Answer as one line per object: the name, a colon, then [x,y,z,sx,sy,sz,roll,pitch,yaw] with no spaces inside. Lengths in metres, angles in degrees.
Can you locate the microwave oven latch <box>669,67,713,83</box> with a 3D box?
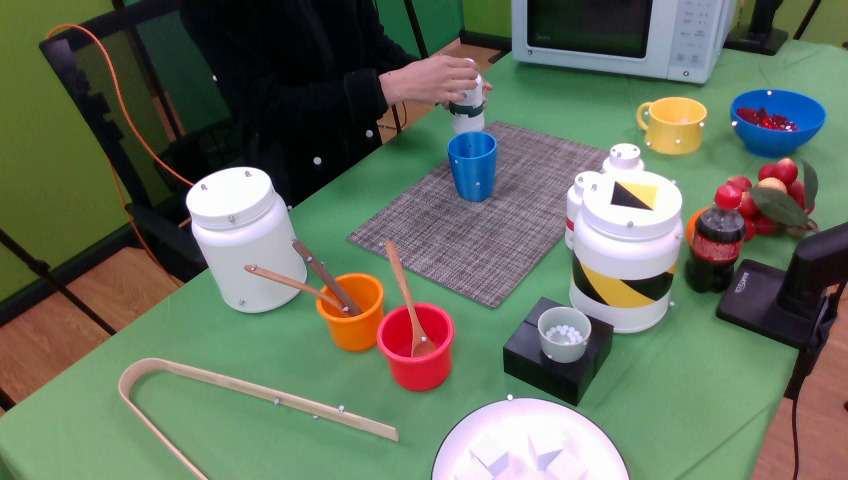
microwave oven latch: [0.556,-0.349,1.261,0.078,0.029,0.030,16,46,27]

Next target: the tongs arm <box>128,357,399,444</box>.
tongs arm: [-0.213,0.205,0.755,0.382,0.026,0.051,12,46,23]

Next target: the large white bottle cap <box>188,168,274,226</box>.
large white bottle cap: [-0.264,-0.061,0.831,0.115,0.018,0.114,-4,40,4]

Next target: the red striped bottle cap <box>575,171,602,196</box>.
red striped bottle cap: [0.242,-0.081,0.876,0.044,0.018,0.044,-5,44,5]

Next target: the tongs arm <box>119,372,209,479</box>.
tongs arm: [-0.258,0.257,0.700,0.384,0.028,0.028,24,55,34]

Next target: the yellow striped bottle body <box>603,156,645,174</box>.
yellow striped bottle body: [0.313,-0.089,0.956,0.063,0.121,0.062,-5,39,4]

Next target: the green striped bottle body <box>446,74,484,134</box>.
green striped bottle body: [0.074,-0.252,1.081,0.063,0.120,0.063,-5,42,5]

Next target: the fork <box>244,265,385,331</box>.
fork: [-0.142,0.078,0.806,0.209,0.018,0.028,30,32,-24]

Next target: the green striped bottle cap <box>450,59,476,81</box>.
green striped bottle cap: [0.068,-0.293,1.044,0.044,0.020,0.044,-6,43,6]

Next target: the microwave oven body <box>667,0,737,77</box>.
microwave oven body: [0.462,-0.552,1.369,0.439,0.261,0.326,15,45,26]

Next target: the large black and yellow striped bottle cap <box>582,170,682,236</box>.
large black and yellow striped bottle cap: [0.252,-0.048,0.735,0.115,0.019,0.114,-3,40,3]

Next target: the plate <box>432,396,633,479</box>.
plate: [0.112,0.261,0.634,0.209,0.038,0.208,-5,40,4]

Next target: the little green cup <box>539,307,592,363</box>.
little green cup: [0.168,0.115,0.721,0.061,0.039,0.061,-4,42,4]

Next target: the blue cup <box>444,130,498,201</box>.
blue cup: [0.086,-0.123,1.040,0.092,0.100,0.092,-5,42,5]

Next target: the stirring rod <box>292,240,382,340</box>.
stirring rod: [-0.119,0.068,0.826,0.176,0.006,0.014,49,58,-4]

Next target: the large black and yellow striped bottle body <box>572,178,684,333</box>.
large black and yellow striped bottle body: [0.262,0.017,0.788,0.131,0.185,0.130,-5,40,4]

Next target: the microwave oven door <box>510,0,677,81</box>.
microwave oven door: [0.354,-0.478,1.290,0.353,0.245,0.039,15,45,25]

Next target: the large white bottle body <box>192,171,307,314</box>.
large white bottle body: [-0.256,0.003,0.885,0.130,0.185,0.130,-4,40,4]

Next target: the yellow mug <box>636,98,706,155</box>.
yellow mug: [0.453,-0.217,1.129,0.100,0.064,0.129,-34,46,-27]

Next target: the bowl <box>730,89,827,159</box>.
bowl: [0.615,-0.197,1.069,0.151,0.077,0.150,-5,40,5]

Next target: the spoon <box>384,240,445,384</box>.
spoon: [-0.016,0.090,0.776,0.042,0.021,0.193,-17,85,-10]

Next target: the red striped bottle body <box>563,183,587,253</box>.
red striped bottle body: [0.246,-0.041,0.910,0.063,0.120,0.062,-2,38,2]

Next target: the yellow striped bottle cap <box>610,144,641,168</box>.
yellow striped bottle cap: [0.307,-0.128,0.923,0.044,0.019,0.044,-5,40,5]
